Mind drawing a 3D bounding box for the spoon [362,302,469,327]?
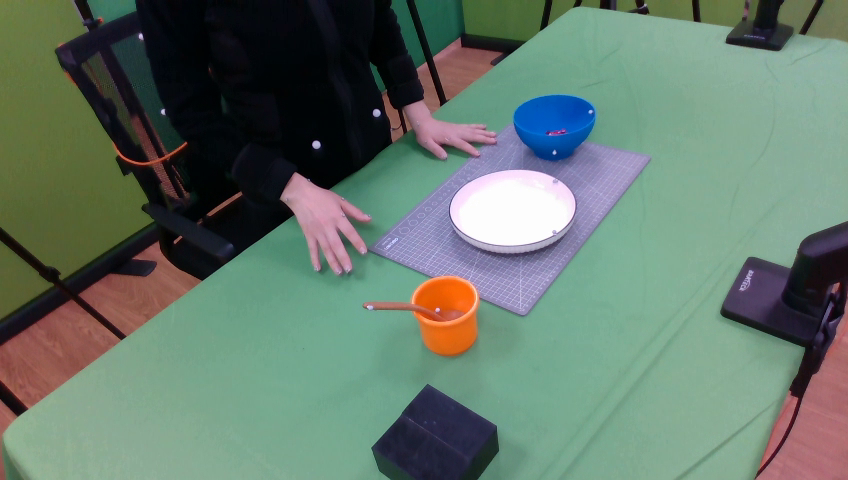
[{"bbox_3d":[-0.008,0.092,0.779,0.041,0.195,0.021,33,99,42],"label":"spoon"}]

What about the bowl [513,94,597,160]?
[{"bbox_3d":[0.244,-0.202,1.130,0.151,0.077,0.150,-6,40,5],"label":"bowl"}]

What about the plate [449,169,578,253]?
[{"bbox_3d":[0.146,-0.044,0.993,0.209,0.038,0.208,-5,40,5],"label":"plate"}]
